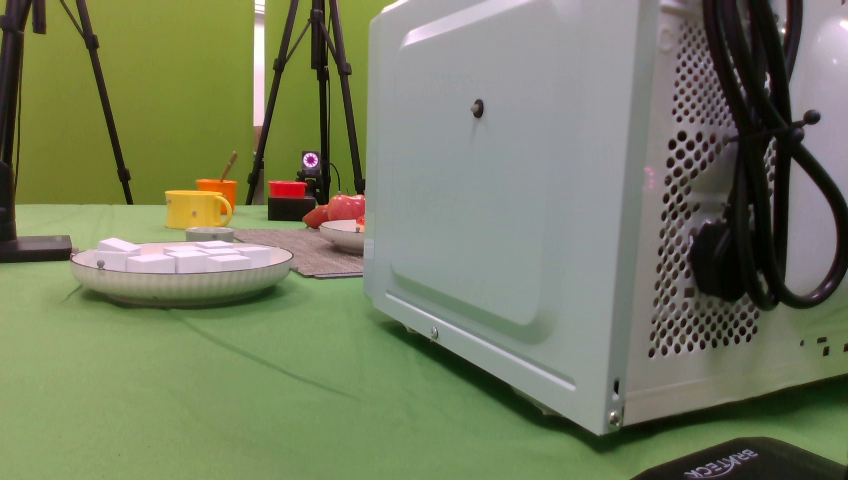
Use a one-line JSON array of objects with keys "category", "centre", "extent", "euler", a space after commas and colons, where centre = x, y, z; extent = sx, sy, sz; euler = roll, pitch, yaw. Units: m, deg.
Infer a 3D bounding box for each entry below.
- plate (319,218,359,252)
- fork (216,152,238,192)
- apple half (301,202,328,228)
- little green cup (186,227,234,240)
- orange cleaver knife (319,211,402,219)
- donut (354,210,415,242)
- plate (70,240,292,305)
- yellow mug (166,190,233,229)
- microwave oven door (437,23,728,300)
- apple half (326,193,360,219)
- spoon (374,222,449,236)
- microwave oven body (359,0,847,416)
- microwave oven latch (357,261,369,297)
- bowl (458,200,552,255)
[{"category": "plate", "centre": [-0.059, -0.007, 0.939], "extent": [0.209, 0.038, 0.209], "euler": [3, 8, 0]}, {"category": "fork", "centre": [-0.455, -0.132, 1.367], "extent": [0.028, 0.018, 0.207], "euler": [-2, -35, -37]}, {"category": "apple half", "centre": [-0.194, -0.043, 1.173], "extent": [0.081, 0.032, 0.081], "euler": [-22, -15, -6]}, {"category": "little green cup", "centre": [-0.284, 0.005, 0.805], "extent": [0.061, 0.038, 0.061], "euler": [2, 8, 0]}, {"category": "orange cleaver knife", "centre": [-0.142, -0.057, 1.395], "extent": [0.077, 0.012, 0.212], "euler": [3, 7, 44]}, {"category": "donut", "centre": [-0.063, -0.020, 0.955], "extent": [0.099, 0.048, 0.099], "euler": [5, 7, 0]}, {"category": "plate", "centre": [-0.242, 0.031, 0.618], "extent": [0.208, 0.039, 0.207], "euler": [2, 8, 0]}, {"category": "yellow mug", "centre": [-0.415, -0.057, 1.132], "extent": [0.130, 0.064, 0.100], "euler": [6, 8, 16]}, {"category": "microwave oven door", "centre": [0.181, -0.072, 0.621], "extent": [0.358, 0.243, 0.039], "euler": [-2, 9, -29]}, {"category": "apple half", "centre": [-0.135, -0.047, 1.089], "extent": [0.081, 0.074, 0.053], "euler": [5, 10, -12]}, {"category": "spoon", "centre": [-0.029, -0.025, 1.178], "extent": [0.193, 0.021, 0.042], "euler": [9, 26, 42]}, {"category": "microwave oven body", "centre": [0.211, -0.047, 0.474], "extent": [0.444, 0.260, 0.324], "euler": [-1, 7, -28]}, {"category": "microwave oven latch", "centre": [-0.019, 0.033, 0.531], "extent": [0.079, 0.029, 0.030], "euler": [-1, 7, -27]}, {"category": "bowl", "centre": [0.128, -0.020, 0.977], "extent": [0.151, 0.077, 0.151], "euler": [3, 8, 0]}]
